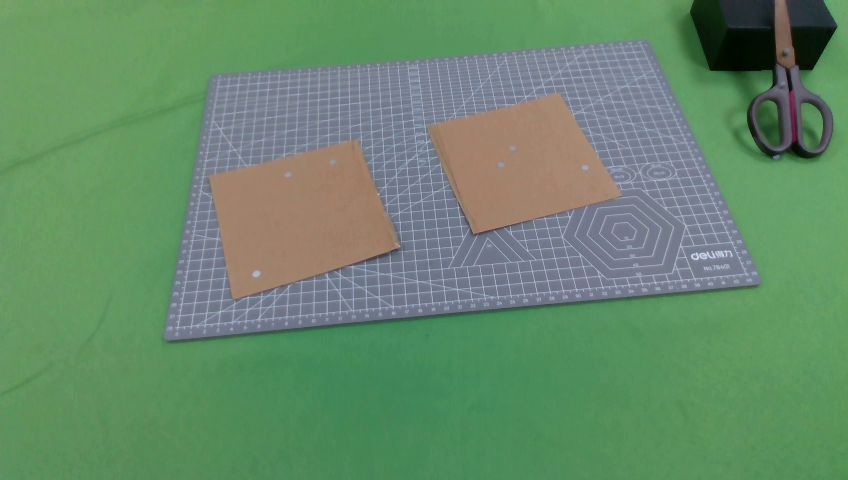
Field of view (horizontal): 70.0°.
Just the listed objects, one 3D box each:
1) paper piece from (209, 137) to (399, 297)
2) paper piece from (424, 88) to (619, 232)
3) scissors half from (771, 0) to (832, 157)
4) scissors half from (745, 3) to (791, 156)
[{"bbox_3d":[-0.105,-0.027,0.509,0.138,0.009,0.134,-17,51,-7],"label":"paper piece"},{"bbox_3d":[0.083,-0.075,0.536,0.136,0.004,0.134,-14,57,-7],"label":"paper piece"},{"bbox_3d":[0.336,-0.158,0.548,0.040,0.013,0.174,-6,78,-1],"label":"scissors half"},{"bbox_3d":[0.315,-0.159,0.548,0.040,0.013,0.174,12,77,-2],"label":"scissors half"}]
